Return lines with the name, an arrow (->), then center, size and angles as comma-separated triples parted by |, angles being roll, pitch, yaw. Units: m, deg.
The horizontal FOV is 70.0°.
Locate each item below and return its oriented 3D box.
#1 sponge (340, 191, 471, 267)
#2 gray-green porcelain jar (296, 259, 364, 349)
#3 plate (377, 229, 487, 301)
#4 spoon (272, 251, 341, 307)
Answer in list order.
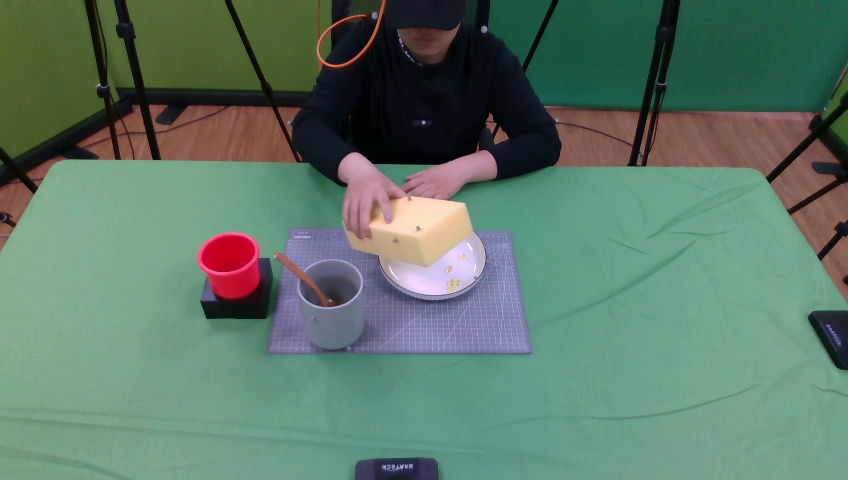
sponge -> -0.036, -0.025, 1.064 | 0.206, 0.061, 0.118 | 12, 40, 45
gray-green porcelain jar -> -0.152, 0.111, 1.003 | 0.106, 0.127, 0.105 | 2, 46, -2
plate -> 0.014, 0.037, 1.147 | 0.208, 0.039, 0.206 | 2, 46, -2
spoon -> -0.181, 0.077, 0.982 | 0.021, 0.195, 0.041 | -8, 46, 28
